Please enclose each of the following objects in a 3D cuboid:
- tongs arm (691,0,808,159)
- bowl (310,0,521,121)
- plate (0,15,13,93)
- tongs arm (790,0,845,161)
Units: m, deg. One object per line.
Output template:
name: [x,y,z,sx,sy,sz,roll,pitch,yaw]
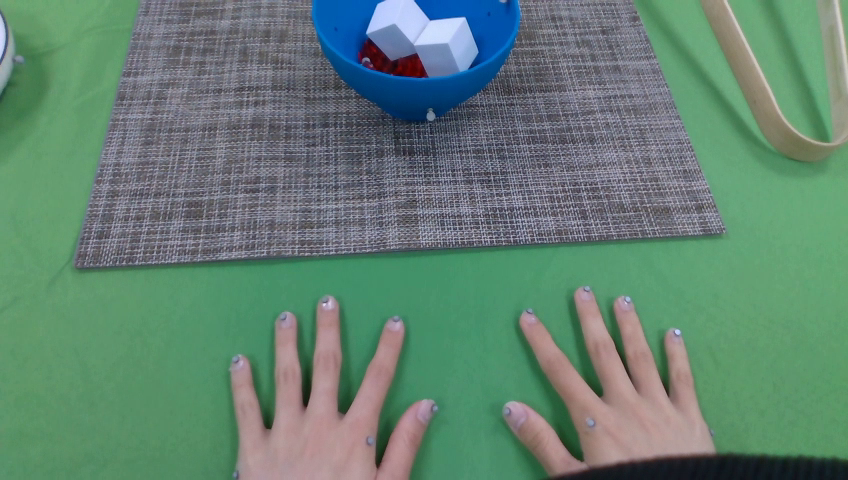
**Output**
tongs arm: [0.241,-0.243,0.532,0.028,0.028,0.384,-8,70,-11]
bowl: [-0.007,-0.146,0.467,0.151,0.077,0.150,1,57,-2]
plate: [-0.423,-0.121,0.461,0.209,0.038,0.207,1,58,-2]
tongs arm: [0.330,-0.244,0.537,0.051,0.026,0.382,6,69,-3]
